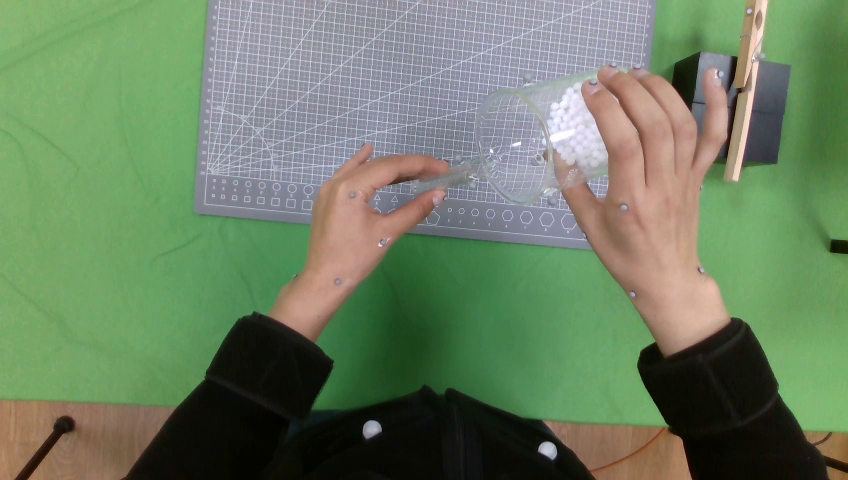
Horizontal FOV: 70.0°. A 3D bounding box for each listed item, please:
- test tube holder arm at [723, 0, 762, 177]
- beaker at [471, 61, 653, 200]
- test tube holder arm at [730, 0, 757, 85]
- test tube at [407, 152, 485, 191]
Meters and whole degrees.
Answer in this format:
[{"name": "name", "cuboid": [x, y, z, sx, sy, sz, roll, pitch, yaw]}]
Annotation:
[{"name": "test tube holder arm", "cuboid": [0.316, -0.152, 0.601, 0.013, 0.015, 0.178, 3, 95, -14]}, {"name": "beaker", "cuboid": [0.091, -0.074, 0.399, 0.100, 0.084, 0.074, -19, 89, -26]}, {"name": "test tube holder arm", "cuboid": [0.315, -0.197, 0.596, 0.010, 0.015, 0.088, 4, 95, -14]}, {"name": "test tube", "cuboid": [0.013, -0.053, 0.484, 0.017, 0.149, 0.017, 0, 90, -18]}]
